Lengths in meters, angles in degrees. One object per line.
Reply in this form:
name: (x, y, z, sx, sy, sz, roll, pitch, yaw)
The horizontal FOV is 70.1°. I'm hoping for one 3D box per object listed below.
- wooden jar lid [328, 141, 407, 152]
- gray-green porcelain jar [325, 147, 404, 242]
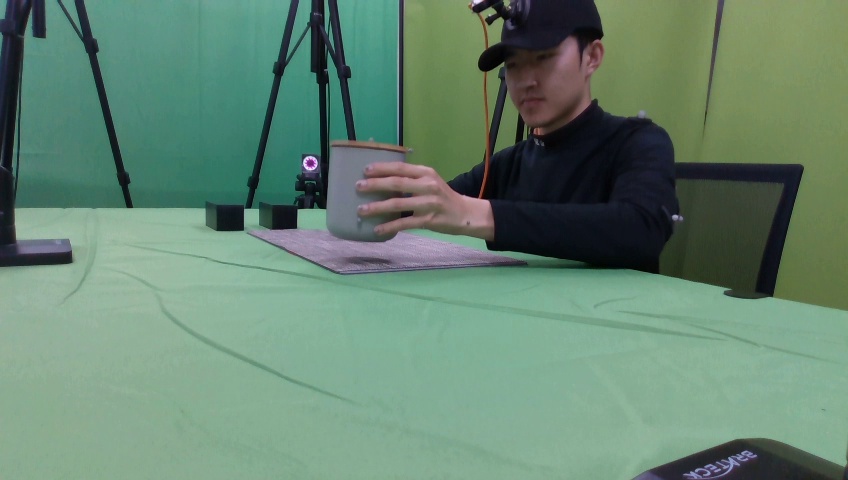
wooden jar lid: (-0.079, -0.123, 0.840, 0.108, 0.020, 0.108, 4, 3, 0)
gray-green porcelain jar: (-0.084, -0.063, 0.847, 0.106, 0.126, 0.106, 4, 6, 0)
